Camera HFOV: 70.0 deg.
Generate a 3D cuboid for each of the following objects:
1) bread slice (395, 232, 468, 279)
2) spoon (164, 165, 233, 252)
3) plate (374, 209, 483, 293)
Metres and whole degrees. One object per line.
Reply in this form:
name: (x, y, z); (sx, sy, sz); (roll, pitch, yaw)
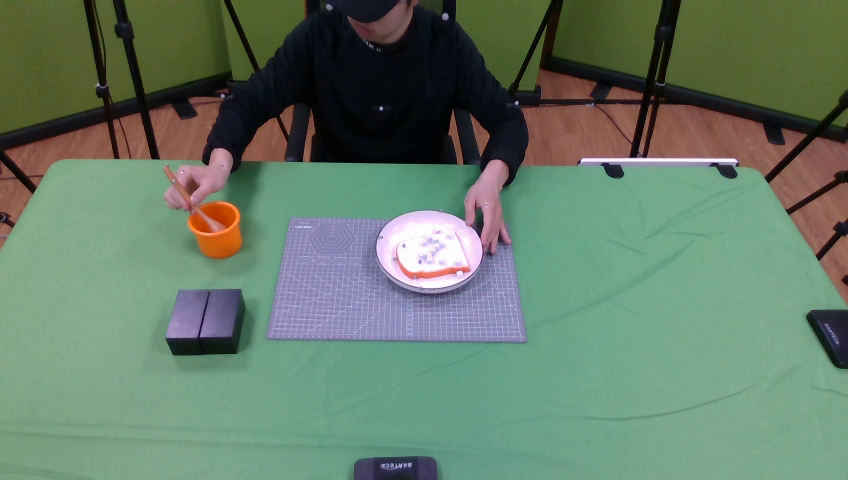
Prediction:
bread slice: (0.011, 0.030, 1.159); (0.132, 0.019, 0.104); (-8, 47, -14)
spoon: (-0.411, -0.055, 1.103); (0.021, 0.195, 0.041); (-13, 35, 34)
plate: (0.009, 0.024, 1.160); (0.209, 0.038, 0.208); (2, 46, -2)
